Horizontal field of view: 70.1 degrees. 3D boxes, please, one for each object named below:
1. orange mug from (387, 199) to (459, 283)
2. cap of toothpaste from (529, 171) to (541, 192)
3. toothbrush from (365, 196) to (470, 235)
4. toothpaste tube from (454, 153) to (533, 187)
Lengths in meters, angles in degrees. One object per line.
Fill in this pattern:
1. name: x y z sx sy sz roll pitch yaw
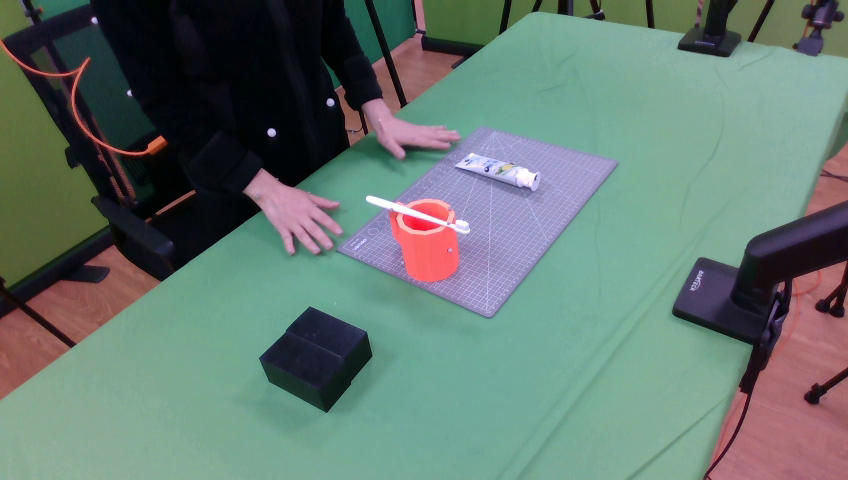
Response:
1. orange mug: -0.006 -0.007 0.923 0.125 0.101 0.084 32 54 32
2. cap of toothpaste: 0.193 -0.103 1.054 0.011 0.037 0.037 19 47 25
3. toothbrush: -0.013 -0.039 0.880 0.180 0.017 0.014 18 49 27
4. toothpaste tube: 0.134 -0.130 1.104 0.163 0.034 0.055 24 44 37
